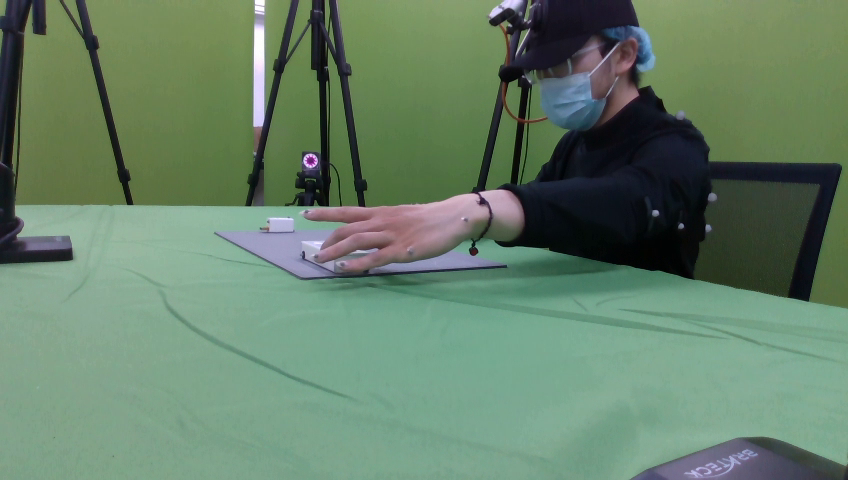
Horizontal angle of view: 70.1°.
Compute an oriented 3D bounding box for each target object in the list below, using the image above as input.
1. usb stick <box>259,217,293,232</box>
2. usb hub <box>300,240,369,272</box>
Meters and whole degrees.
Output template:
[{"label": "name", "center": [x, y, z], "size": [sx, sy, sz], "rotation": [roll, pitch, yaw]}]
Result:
[{"label": "usb stick", "center": [-0.268, -0.028, 1.093], "size": [0.059, 0.027, 0.021], "rotation": [-5, 12, -32]}, {"label": "usb hub", "center": [-0.119, 0.019, 0.783], "size": [0.050, 0.025, 0.124], "rotation": [-2, 8, -31]}]
